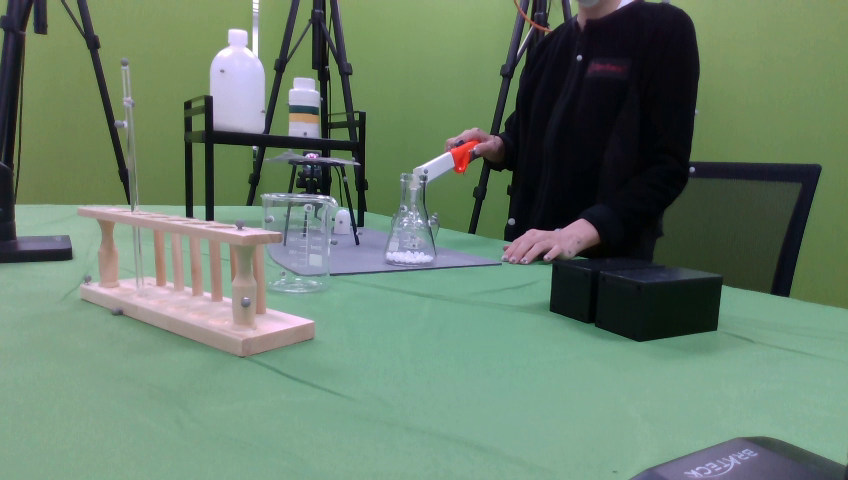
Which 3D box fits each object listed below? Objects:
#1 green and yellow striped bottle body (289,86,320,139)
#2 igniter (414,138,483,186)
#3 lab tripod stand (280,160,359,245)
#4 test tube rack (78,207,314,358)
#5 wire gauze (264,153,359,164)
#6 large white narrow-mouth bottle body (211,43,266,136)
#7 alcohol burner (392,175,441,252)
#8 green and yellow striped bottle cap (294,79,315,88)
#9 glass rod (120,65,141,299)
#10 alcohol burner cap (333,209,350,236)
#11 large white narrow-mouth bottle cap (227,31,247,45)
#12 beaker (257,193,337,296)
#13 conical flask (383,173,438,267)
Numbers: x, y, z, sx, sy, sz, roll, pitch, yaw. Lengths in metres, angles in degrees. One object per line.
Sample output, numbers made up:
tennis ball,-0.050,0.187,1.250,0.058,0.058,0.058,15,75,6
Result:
green and yellow striped bottle body,-0.250,-0.272,1.261,0.063,0.119,0.063,3,7,0
igniter,0.051,-0.143,1.075,0.025,0.057,0.277,-9,14,28
lab tripod stand,-0.176,-0.062,0.973,0.148,0.131,0.148,1,7,0
test tube rack,-0.196,0.024,0.500,0.241,0.085,0.067,8,8,37
wire gauze,-0.181,-0.130,0.969,0.126,0.011,0.121,-1,6,-27
large white narrow-mouth bottle body,-0.361,-0.302,1.176,0.102,0.194,0.102,1,7,0
alcohol burner,-0.012,-0.041,0.944,0.078,0.119,0.078,0,7,0
green and yellow striped bottle cap,-0.248,-0.323,1.256,0.045,0.020,0.045,3,9,0
glass rod,-0.249,-0.047,0.513,0.008,0.199,0.008,-1,4,0
alcohol burner cap,-0.151,-0.033,1.116,0.034,0.048,0.034,4,7,0
large white narrow-mouth bottle cap,-0.361,-0.388,1.165,0.038,0.024,0.037,1,7,0
beaker,-0.130,0.004,0.628,0.084,0.100,0.074,5,8,15
conical flask,-0.016,-0.028,0.808,0.075,0.122,0.075,2,8,0
